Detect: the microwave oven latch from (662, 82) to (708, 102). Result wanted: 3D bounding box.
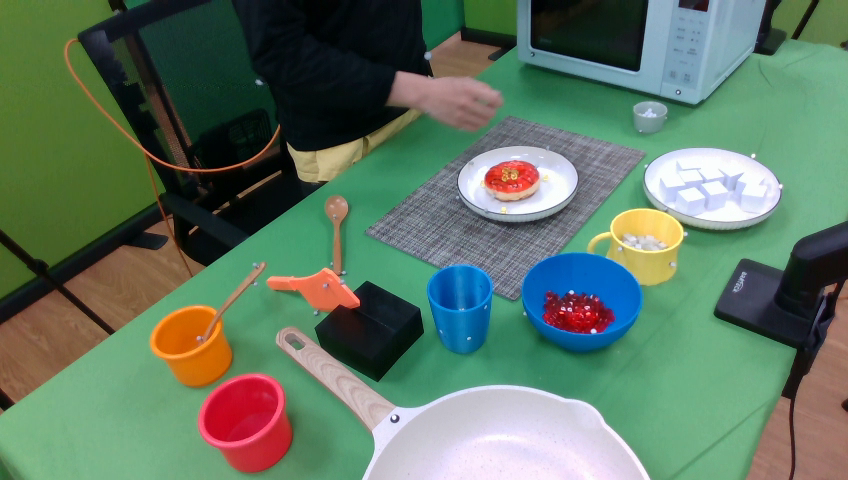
[{"bbox_3d":[0.518,-0.298,1.202,0.078,0.029,0.030,28,52,35],"label":"microwave oven latch"}]

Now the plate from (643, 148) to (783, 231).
[{"bbox_3d":[0.464,-0.080,0.986,0.207,0.039,0.206,-4,41,4],"label":"plate"}]

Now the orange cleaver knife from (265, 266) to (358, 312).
[{"bbox_3d":[-0.164,0.073,0.864,0.210,0.077,0.012,-6,31,50],"label":"orange cleaver knife"}]

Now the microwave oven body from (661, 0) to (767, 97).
[{"bbox_3d":[0.473,-0.516,1.313,0.438,0.261,0.327,26,51,34],"label":"microwave oven body"}]

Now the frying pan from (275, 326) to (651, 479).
[{"bbox_3d":[0.004,0.229,0.641,0.484,0.103,0.308,34,54,28],"label":"frying pan"}]

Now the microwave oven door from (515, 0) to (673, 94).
[{"bbox_3d":[0.344,-0.458,1.256,0.353,0.245,0.039,26,52,33],"label":"microwave oven door"}]

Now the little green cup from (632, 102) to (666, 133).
[{"bbox_3d":[0.434,-0.237,1.171,0.061,0.039,0.061,-5,40,5],"label":"little green cup"}]

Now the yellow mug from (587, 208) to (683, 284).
[{"bbox_3d":[0.305,0.009,0.884,0.131,0.064,0.099,-4,41,5],"label":"yellow mug"}]

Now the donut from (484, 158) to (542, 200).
[{"bbox_3d":[0.153,-0.107,1.039,0.099,0.048,0.098,-5,37,5],"label":"donut"}]

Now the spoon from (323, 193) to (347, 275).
[{"bbox_3d":[-0.148,-0.014,1.008,0.042,0.022,0.192,1,40,-9],"label":"spoon"}]

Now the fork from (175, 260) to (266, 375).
[{"bbox_3d":[-0.268,0.102,0.792,0.207,0.019,0.028,-51,41,16],"label":"fork"}]

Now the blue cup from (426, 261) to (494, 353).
[{"bbox_3d":[0.049,0.095,0.792,0.092,0.100,0.092,-3,43,3],"label":"blue cup"}]

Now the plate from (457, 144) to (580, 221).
[{"bbox_3d":[0.162,-0.097,1.042,0.209,0.038,0.208,-4,40,4],"label":"plate"}]

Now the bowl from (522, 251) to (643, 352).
[{"bbox_3d":[0.204,0.093,0.792,0.151,0.077,0.150,-4,40,4],"label":"bowl"}]
